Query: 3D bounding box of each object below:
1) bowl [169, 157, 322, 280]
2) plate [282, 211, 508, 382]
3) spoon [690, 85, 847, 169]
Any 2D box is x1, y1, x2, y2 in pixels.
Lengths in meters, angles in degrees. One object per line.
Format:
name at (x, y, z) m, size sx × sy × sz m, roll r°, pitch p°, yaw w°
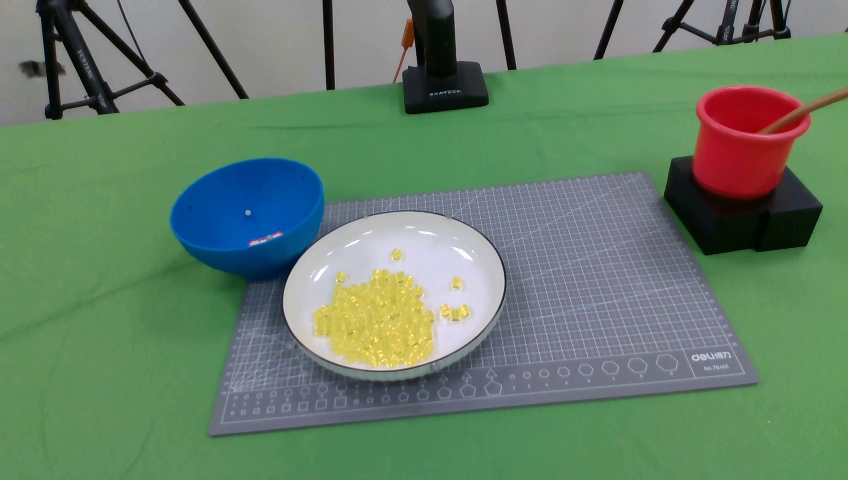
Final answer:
bowl at (-0.173, -0.012, 0.626) m, size 0.151 × 0.077 × 0.150 m, roll -3°, pitch 42°, yaw 3°
plate at (-0.025, 0.050, 0.569) m, size 0.207 × 0.039 × 0.205 m, roll -4°, pitch 41°, yaw 3°
spoon at (0.336, -0.110, 0.551) m, size 0.193 × 0.022 × 0.041 m, roll -32°, pitch 16°, yaw 44°
